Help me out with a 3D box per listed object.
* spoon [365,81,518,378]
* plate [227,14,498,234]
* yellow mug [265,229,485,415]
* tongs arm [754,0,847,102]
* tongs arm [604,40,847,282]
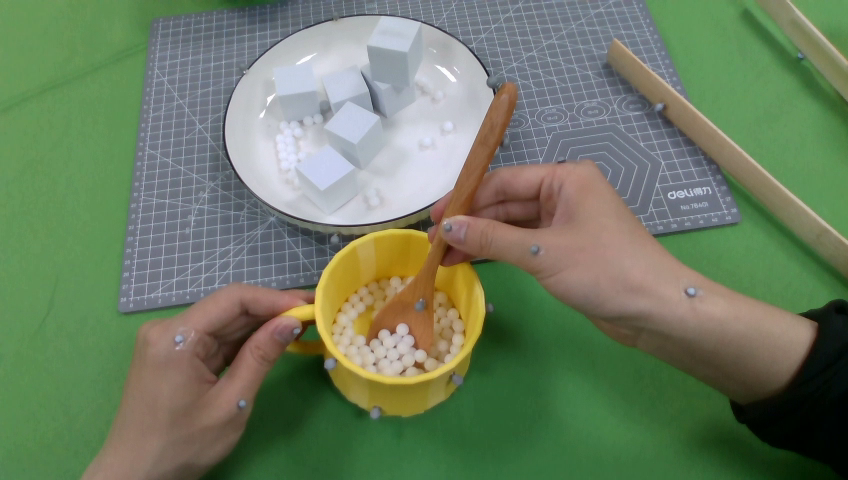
[{"bbox_3d":[0.011,0.002,0.347,0.041,0.194,0.021,29,27,11],"label":"spoon"},{"bbox_3d":[-0.045,-0.091,0.474,0.207,0.039,0.206,-1,61,3],"label":"plate"},{"bbox_3d":[-0.031,0.053,0.374,0.131,0.064,0.099,-6,60,-7],"label":"yellow mug"},{"bbox_3d":[0.338,-0.059,0.440,0.051,0.027,0.381,-21,64,-8],"label":"tongs arm"},{"bbox_3d":[0.266,-0.024,0.429,0.028,0.028,0.384,-32,65,-16],"label":"tongs arm"}]
